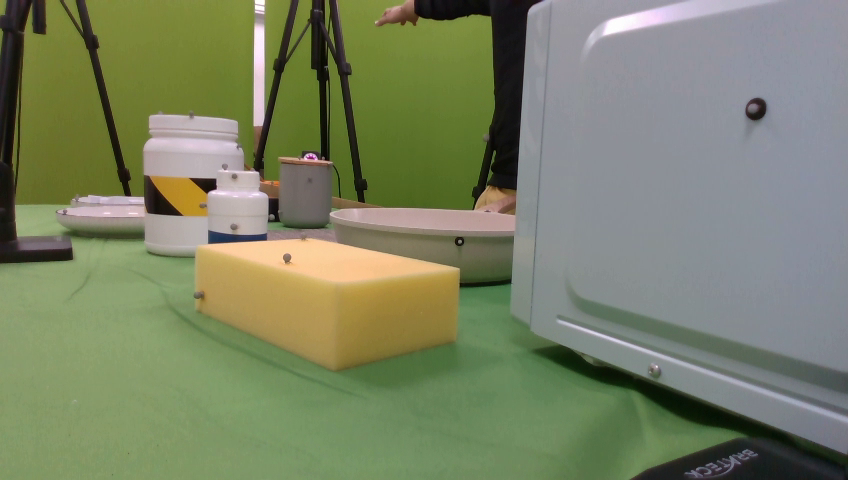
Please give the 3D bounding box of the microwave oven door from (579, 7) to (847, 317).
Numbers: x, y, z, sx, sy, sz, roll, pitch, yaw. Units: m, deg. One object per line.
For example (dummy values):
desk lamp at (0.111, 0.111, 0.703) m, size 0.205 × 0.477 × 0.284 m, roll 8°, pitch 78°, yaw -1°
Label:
microwave oven door at (0.294, -0.067, 0.570) m, size 0.358 × 0.243 × 0.039 m, roll -3°, pitch 9°, yaw -31°

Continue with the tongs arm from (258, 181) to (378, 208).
tongs arm at (-0.242, -0.094, 1.374) m, size 0.387 × 0.026 × 0.050 m, roll 9°, pitch 0°, yaw -38°

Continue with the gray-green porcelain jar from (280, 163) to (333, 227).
gray-green porcelain jar at (-0.238, -0.092, 1.221) m, size 0.106 × 0.126 × 0.106 m, roll 1°, pitch 7°, yaw 0°

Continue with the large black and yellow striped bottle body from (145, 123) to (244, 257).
large black and yellow striped bottle body at (-0.320, -0.075, 0.851) m, size 0.131 × 0.184 × 0.130 m, roll 2°, pitch 8°, yaw 0°

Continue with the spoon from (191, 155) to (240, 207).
spoon at (-0.489, -0.135, 1.417) m, size 0.041 × 0.021 × 0.194 m, roll 2°, pitch -35°, yaw 19°

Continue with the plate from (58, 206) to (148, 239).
plate at (-0.496, -0.030, 1.022) m, size 0.209 × 0.038 × 0.209 m, roll 2°, pitch 8°, yaw 0°

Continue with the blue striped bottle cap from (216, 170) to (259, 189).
blue striped bottle cap at (-0.201, -0.066, 0.654) m, size 0.044 × 0.020 × 0.044 m, roll 0°, pitch 5°, yaw 0°

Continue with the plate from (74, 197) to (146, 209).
plate at (-0.596, -0.062, 1.238) m, size 0.208 × 0.039 × 0.207 m, roll 2°, pitch 8°, yaw 0°

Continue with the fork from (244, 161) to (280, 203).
fork at (-0.398, -0.144, 1.489) m, size 0.028 × 0.018 × 0.208 m, roll 23°, pitch -23°, yaw 47°

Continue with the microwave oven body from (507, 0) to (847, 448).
microwave oven body at (0.331, -0.042, 0.425) m, size 0.444 × 0.260 × 0.324 m, roll -2°, pitch 8°, yaw -31°

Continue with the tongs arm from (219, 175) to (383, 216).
tongs arm at (-0.286, -0.105, 1.445) m, size 0.389 × 0.027 × 0.028 m, roll 10°, pitch -4°, yaw -23°

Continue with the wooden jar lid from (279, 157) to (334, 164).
wooden jar lid at (-0.237, -0.154, 1.213) m, size 0.108 × 0.020 × 0.108 m, roll 6°, pitch 9°, yaw -1°

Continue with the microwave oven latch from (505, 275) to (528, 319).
microwave oven latch at (0.100, 0.041, 0.471) m, size 0.079 × 0.029 × 0.030 m, roll -1°, pitch 8°, yaw -28°

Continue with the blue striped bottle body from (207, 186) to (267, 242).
blue striped bottle body at (-0.204, -0.016, 0.661) m, size 0.063 × 0.120 × 0.063 m, roll 2°, pitch 7°, yaw 0°

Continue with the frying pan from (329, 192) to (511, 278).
frying pan at (0.071, -0.030, 0.884) m, size 0.305 × 0.102 × 0.490 m, roll 7°, pitch 17°, yaw 27°

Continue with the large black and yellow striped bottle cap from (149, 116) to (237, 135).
large black and yellow striped bottle cap at (-0.319, -0.158, 0.841) m, size 0.115 × 0.019 × 0.115 m, roll 3°, pitch 7°, yaw 0°

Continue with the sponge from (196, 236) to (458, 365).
sponge at (-0.087, 0.039, 0.500) m, size 0.206 × 0.061 × 0.119 m, roll 8°, pitch 9°, yaw 44°
